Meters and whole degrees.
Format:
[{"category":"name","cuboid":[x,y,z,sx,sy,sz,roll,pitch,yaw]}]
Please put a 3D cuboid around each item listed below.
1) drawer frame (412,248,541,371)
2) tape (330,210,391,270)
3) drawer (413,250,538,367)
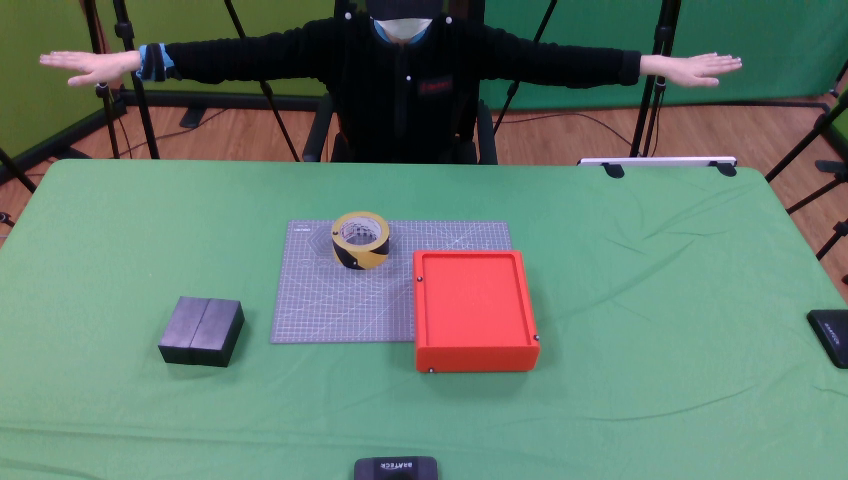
[{"category":"drawer frame","cuboid":[0.082,0.116,1.046,0.202,0.083,0.212,0,47,-4]},{"category":"tape","cuboid":[-0.123,-0.002,1.164,0.117,0.053,0.116,3,46,-3]},{"category":"drawer","cuboid":[0.080,0.114,1.047,0.195,0.073,0.210,1,47,-4]}]
